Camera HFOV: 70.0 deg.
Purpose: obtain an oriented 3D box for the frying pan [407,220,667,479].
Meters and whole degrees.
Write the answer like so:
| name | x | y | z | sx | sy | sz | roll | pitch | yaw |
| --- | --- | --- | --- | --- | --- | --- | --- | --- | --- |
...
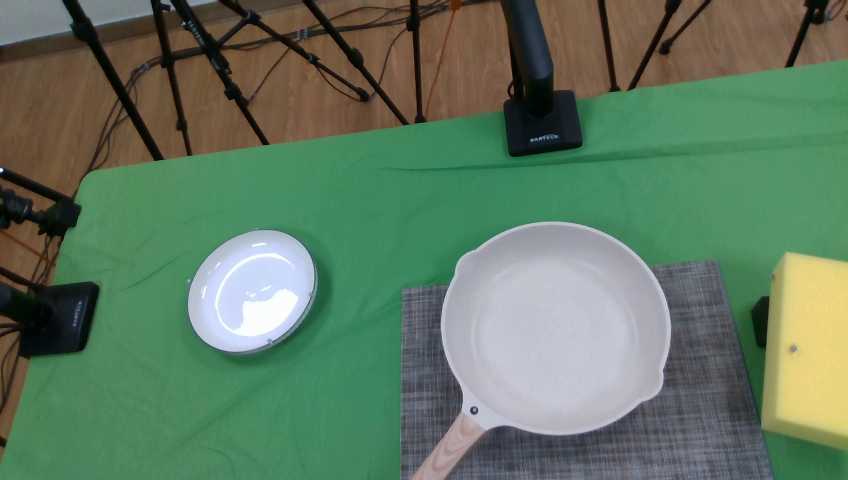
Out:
| name | x | y | z | sx | sy | sz | roll | pitch | yaw |
| --- | --- | --- | --- | --- | --- | --- | --- | --- | --- |
| frying pan | 0.099 | 0.182 | 0.774 | 0.304 | 0.104 | 0.487 | 34 | 65 | 27 |

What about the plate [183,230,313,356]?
| name | x | y | z | sx | sy | sz | roll | pitch | yaw |
| --- | --- | --- | --- | --- | --- | --- | --- | --- | --- |
| plate | -0.270 | 0.084 | 0.947 | 0.207 | 0.039 | 0.206 | -5 | 62 | 9 |

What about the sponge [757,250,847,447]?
| name | x | y | z | sx | sy | sz | roll | pitch | yaw |
| --- | --- | --- | --- | --- | --- | --- | --- | --- | --- |
| sponge | 0.463 | 0.123 | 0.700 | 0.118 | 0.061 | 0.205 | 10 | 65 | 17 |
